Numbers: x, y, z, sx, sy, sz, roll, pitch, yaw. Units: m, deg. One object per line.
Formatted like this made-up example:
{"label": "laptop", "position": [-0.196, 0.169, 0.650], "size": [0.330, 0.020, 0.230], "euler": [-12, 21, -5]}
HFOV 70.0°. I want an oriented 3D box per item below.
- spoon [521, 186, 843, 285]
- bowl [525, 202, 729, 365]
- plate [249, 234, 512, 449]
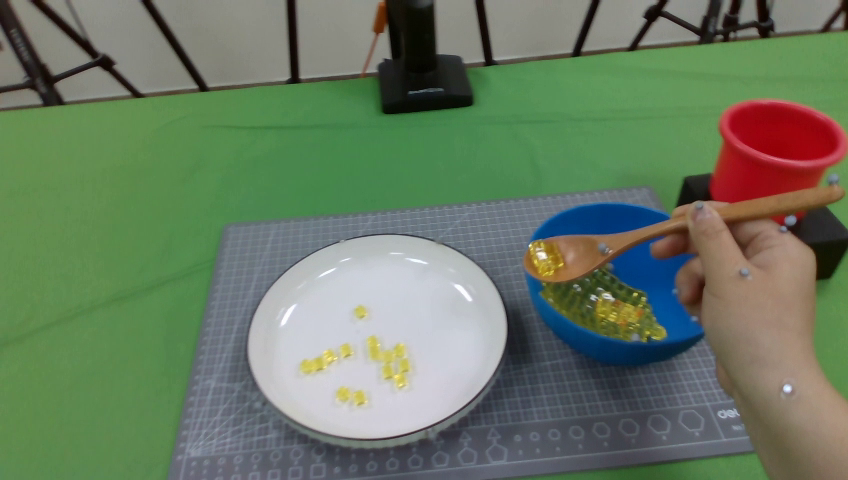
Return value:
{"label": "spoon", "position": [0.153, -0.004, 0.386], "size": [0.193, 0.022, 0.041], "euler": [-18, 38, 31]}
{"label": "bowl", "position": [0.154, 0.047, 0.485], "size": [0.151, 0.077, 0.150], "euler": [-2, 44, 2]}
{"label": "plate", "position": [-0.033, 0.078, 0.494], "size": [0.207, 0.039, 0.205], "euler": [-2, 44, 2]}
